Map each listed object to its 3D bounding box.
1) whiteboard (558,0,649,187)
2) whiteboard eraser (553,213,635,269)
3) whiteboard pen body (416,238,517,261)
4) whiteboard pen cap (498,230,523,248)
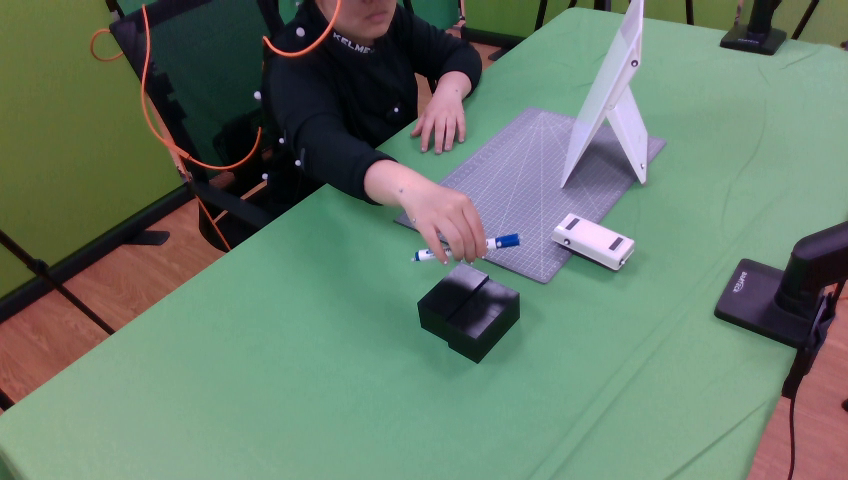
[{"bbox_3d":[0.361,-0.238,1.026,0.144,0.306,0.217,21,44,3],"label":"whiteboard"},{"bbox_3d":[0.257,0.003,0.918,0.112,0.042,0.056,27,49,30],"label":"whiteboard eraser"},{"bbox_3d":[0.057,0.011,0.821,0.140,0.017,0.017,-10,39,13],"label":"whiteboard pen body"},{"bbox_3d":[0.116,-0.002,0.808,0.033,0.018,0.018,-19,40,-30],"label":"whiteboard pen cap"}]
